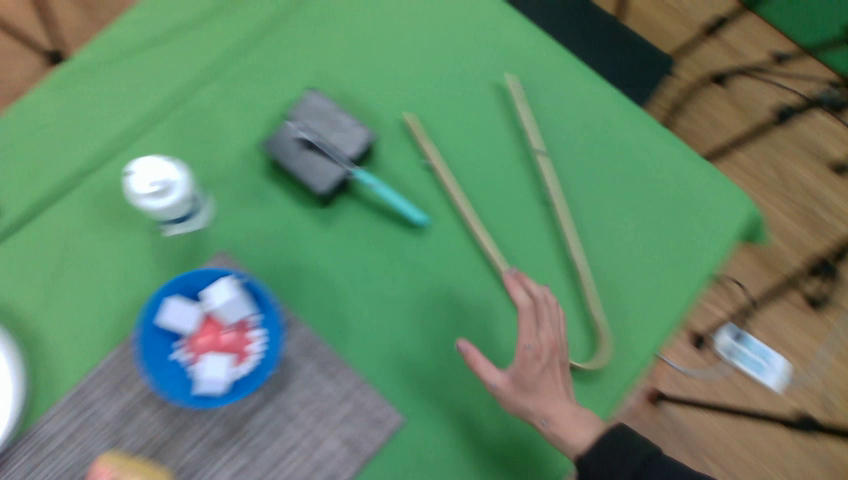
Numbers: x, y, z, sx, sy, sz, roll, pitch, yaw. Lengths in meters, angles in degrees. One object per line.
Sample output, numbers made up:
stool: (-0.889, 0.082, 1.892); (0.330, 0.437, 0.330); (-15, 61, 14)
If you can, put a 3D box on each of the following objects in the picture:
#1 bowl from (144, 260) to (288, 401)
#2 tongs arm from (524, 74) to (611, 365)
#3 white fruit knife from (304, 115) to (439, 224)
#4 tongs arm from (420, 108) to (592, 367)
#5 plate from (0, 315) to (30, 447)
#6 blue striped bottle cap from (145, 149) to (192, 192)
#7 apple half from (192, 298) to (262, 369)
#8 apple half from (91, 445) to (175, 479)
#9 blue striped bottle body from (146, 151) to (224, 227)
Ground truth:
bowl: (-0.223, 0.105, 0.682); (0.151, 0.077, 0.150); (1, 75, -3)
tongs arm: (0.170, -0.034, 0.772); (0.051, 0.026, 0.383); (-15, 78, -8)
white fruit knife: (-0.063, -0.085, 0.742); (0.208, 0.027, 0.016); (38, 93, -11)
tongs arm: (0.094, -0.006, 0.763); (0.028, 0.028, 0.385); (-28, 79, -14)
plate: (-0.540, 0.167, 0.668); (0.208, 0.039, 0.206); (1, 75, -4)
blue striped bottle cap: (-0.276, -0.076, 0.654); (0.044, 0.021, 0.044); (1, 77, -6)
apple half: (-0.222, 0.103, 0.677); (0.081, 0.033, 0.081); (1, 76, -3)
apple half: (-0.311, 0.257, 0.639); (0.081, 0.075, 0.053); (25, 78, -1)
blue striped bottle body: (-0.278, -0.061, 0.702); (0.063, 0.121, 0.062); (1, 74, -3)
